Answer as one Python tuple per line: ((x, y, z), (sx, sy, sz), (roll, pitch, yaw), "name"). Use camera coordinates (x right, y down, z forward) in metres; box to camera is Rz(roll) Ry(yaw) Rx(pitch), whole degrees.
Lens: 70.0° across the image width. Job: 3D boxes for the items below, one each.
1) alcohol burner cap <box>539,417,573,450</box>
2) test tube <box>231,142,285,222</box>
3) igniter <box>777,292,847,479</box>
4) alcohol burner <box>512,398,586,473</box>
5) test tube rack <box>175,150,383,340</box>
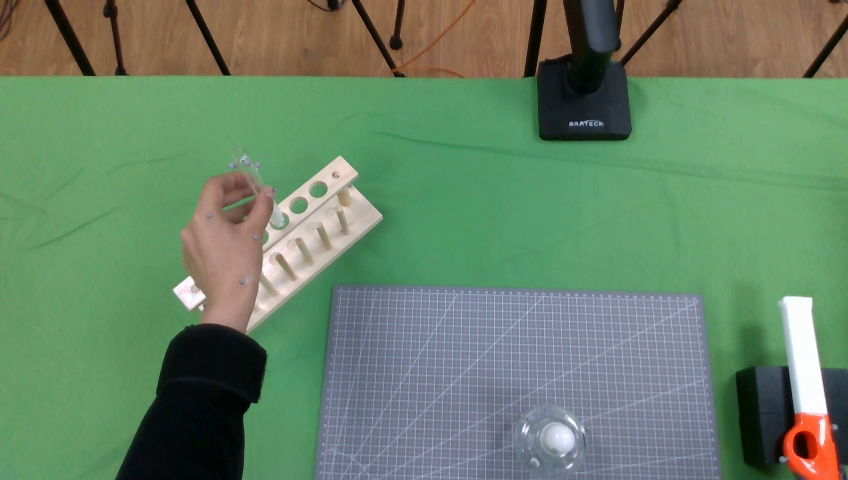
((0.133, 0.191, 0.598), (0.034, 0.048, 0.033), (-2, 73, 6), "alcohol burner cap")
((-0.169, -0.056, 0.630), (0.017, 0.151, 0.017), (-1, 66, 2), "test tube")
((0.400, 0.188, 0.628), (0.057, 0.025, 0.274), (4, 69, 5), "igniter")
((0.133, 0.203, 0.632), (0.078, 0.120, 0.077), (0, 69, 1), "alcohol burner")
((-0.165, 0.007, 0.727), (0.242, 0.086, 0.066), (-41, 74, -12), "test tube rack")
